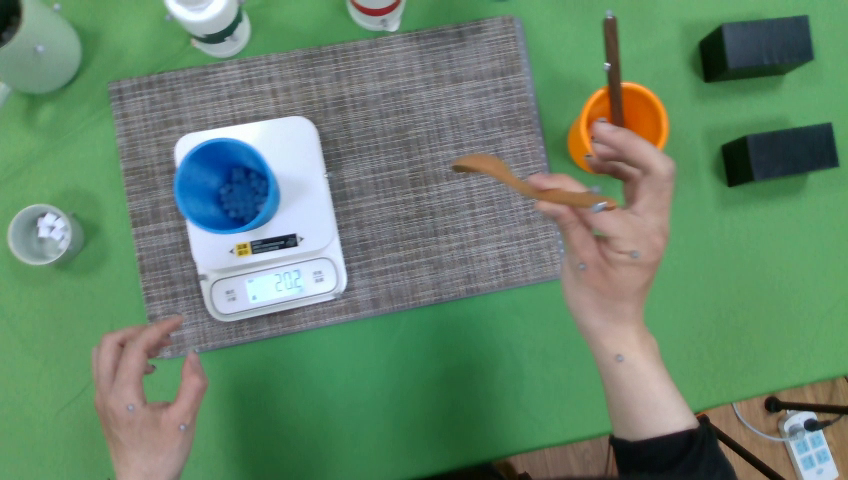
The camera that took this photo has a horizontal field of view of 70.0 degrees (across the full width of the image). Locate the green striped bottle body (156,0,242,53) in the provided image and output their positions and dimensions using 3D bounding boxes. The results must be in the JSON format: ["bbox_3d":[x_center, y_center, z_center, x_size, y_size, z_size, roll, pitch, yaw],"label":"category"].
[{"bbox_3d":[-0.226,-0.238,0.605,0.063,0.119,0.063,0,87,-4],"label":"green striped bottle body"}]

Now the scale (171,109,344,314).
[{"bbox_3d":[-0.175,-0.031,0.641,0.149,0.031,0.200,-12,89,-4],"label":"scale"}]

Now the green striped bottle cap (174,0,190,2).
[{"bbox_3d":[-0.223,-0.242,0.550,0.044,0.020,0.044,0,87,-2],"label":"green striped bottle cap"}]

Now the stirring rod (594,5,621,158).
[{"bbox_3d":[0.189,-0.156,0.622,0.014,0.005,0.178,-25,131,-3],"label":"stirring rod"}]

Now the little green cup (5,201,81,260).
[{"bbox_3d":[-0.390,-0.009,0.625,0.061,0.038,0.061,0,87,-5],"label":"little green cup"}]

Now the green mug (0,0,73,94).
[{"bbox_3d":[-0.422,-0.189,0.598,0.092,0.105,0.125,24,86,-2],"label":"green mug"}]

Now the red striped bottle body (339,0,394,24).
[{"bbox_3d":[-0.060,-0.274,0.618,0.063,0.119,0.063,0,87,-4],"label":"red striped bottle body"}]

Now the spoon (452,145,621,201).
[{"bbox_3d":[0.073,-0.047,0.425,0.042,0.192,0.022,1,107,-24],"label":"spoon"}]

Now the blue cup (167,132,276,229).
[{"bbox_3d":[-0.181,-0.051,0.576,0.093,0.100,0.092,0,89,-4],"label":"blue cup"}]
